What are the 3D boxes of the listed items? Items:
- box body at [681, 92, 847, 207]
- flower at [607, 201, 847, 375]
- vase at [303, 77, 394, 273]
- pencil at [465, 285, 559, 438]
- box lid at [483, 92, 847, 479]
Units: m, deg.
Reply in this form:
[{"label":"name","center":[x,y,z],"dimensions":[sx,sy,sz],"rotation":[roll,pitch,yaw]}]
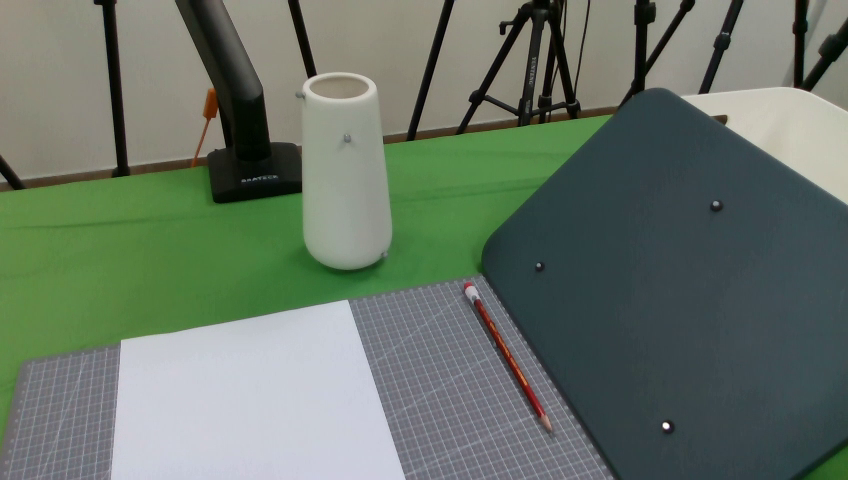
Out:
[{"label":"box body","center":[0.376,0.004,0.603],"dimensions":[0.255,0.162,0.359],"rotation":[-10,39,-15]},{"label":"flower","center":[0.339,0.064,0.637],"dimensions":[0.358,0.038,0.044],"rotation":[42,15,33]},{"label":"vase","center":[-0.082,-0.063,0.631],"dimensions":[0.098,0.201,0.097],"rotation":[1,36,0]},{"label":"pencil","center":[0.078,0.106,0.568],"dimensions":[0.012,0.012,0.192],"rotation":[-10,40,-17]},{"label":"box lid","center":[0.209,0.036,0.522],"dimensions":[0.015,0.263,0.367],"rotation":[33,18,-38]}]
